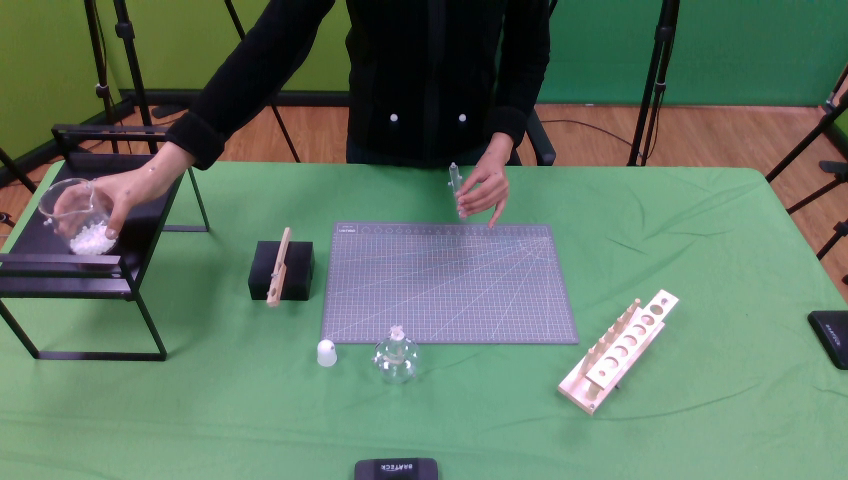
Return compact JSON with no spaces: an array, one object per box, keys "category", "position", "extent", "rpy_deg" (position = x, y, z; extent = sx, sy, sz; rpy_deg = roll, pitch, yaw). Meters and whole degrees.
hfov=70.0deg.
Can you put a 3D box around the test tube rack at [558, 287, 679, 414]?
[{"category":"test tube rack","position":[0.326,0.170,1.009],"extent":[0.066,0.085,0.242],"rpy_deg":[36,54,27]}]

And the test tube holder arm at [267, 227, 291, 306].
[{"category":"test tube holder arm","position":[-0.255,0.042,1.070],"extent":[0.013,0.015,0.177],"rpy_deg":[-7,46,7]}]

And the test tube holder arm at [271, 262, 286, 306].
[{"category":"test tube holder arm","position":[-0.249,0.074,1.038],"extent":[0.010,0.015,0.087],"rpy_deg":[-8,46,7]}]

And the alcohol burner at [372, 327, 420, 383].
[{"category":"alcohol burner","position":[-0.045,0.175,0.961],"extent":[0.078,0.120,0.077],"rpy_deg":[1,47,-1]}]

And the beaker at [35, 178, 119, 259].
[{"category":"beaker","position":[-0.490,-0.027,0.870],"extent":[0.084,0.101,0.074],"rpy_deg":[20,54,18]}]

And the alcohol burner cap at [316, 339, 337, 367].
[{"category":"alcohol burner cap","position":[-0.161,0.182,0.995],"extent":[0.034,0.048,0.033],"rpy_deg":[1,47,-1]}]

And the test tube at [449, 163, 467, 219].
[{"category":"test tube","position":[0.061,-0.083,1.078],"extent":[0.017,0.151,0.017],"rpy_deg":[-5,56,8]}]
